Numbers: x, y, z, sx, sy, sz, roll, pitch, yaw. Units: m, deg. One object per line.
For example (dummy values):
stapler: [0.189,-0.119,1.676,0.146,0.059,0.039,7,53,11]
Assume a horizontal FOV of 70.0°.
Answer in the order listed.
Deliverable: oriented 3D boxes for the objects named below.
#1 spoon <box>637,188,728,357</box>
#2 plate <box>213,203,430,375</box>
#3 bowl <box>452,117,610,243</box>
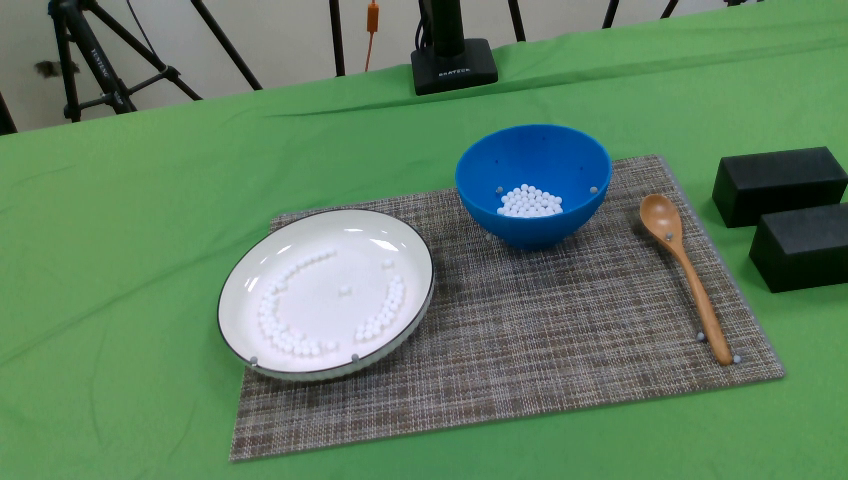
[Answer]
spoon: [0.235,0.022,0.551,0.042,0.022,0.191,5,43,-8]
plate: [-0.095,0.046,0.586,0.207,0.039,0.205,-6,45,6]
bowl: [0.107,-0.050,0.610,0.151,0.077,0.150,-6,44,6]
